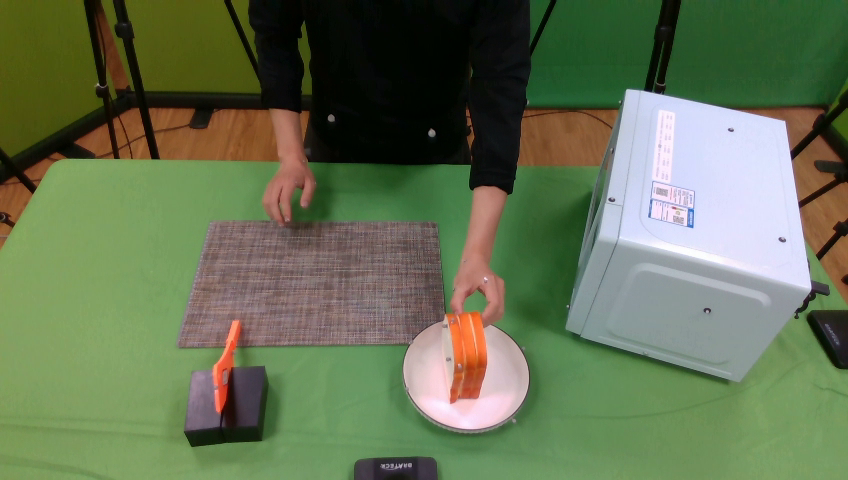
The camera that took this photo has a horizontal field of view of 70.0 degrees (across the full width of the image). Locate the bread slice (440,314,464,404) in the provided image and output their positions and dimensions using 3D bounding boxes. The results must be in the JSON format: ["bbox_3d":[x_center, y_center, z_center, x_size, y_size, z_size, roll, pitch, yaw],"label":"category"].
[{"bbox_3d":[0.043,0.175,0.936,0.018,0.135,0.106,-6,51,-6],"label":"bread slice"}]

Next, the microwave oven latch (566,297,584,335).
[{"bbox_3d":[0.268,0.126,1.059,0.030,0.029,0.079,16,46,12],"label":"microwave oven latch"}]

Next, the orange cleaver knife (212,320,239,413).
[{"bbox_3d":[-0.306,0.190,0.944,0.012,0.077,0.210,-5,17,-7],"label":"orange cleaver knife"}]

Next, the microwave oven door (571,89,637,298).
[{"bbox_3d":[0.343,-0.091,1.132,0.039,0.245,0.354,15,47,10],"label":"microwave oven door"}]

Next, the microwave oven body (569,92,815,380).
[{"bbox_3d":[0.468,-0.022,1.082,0.325,0.261,0.440,15,46,11],"label":"microwave oven body"}]

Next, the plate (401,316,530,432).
[{"bbox_3d":[0.066,0.217,0.982,0.208,0.039,0.206,2,46,-2],"label":"plate"}]
